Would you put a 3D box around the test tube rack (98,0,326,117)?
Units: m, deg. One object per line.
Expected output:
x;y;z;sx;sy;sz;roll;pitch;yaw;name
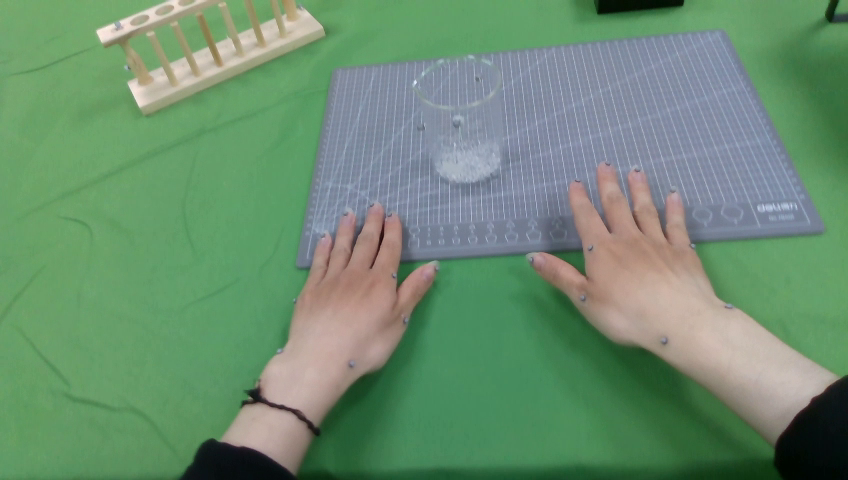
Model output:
-0.250;-0.250;0.737;0.242;0.086;0.066;-29;53;-14;test tube rack

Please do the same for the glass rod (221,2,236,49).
-0.245;-0.316;0.704;0.008;0.201;0.008;-2;44;2;glass rod

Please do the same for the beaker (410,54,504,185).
0.034;-0.107;0.561;0.084;0.101;0.073;4;52;14;beaker
